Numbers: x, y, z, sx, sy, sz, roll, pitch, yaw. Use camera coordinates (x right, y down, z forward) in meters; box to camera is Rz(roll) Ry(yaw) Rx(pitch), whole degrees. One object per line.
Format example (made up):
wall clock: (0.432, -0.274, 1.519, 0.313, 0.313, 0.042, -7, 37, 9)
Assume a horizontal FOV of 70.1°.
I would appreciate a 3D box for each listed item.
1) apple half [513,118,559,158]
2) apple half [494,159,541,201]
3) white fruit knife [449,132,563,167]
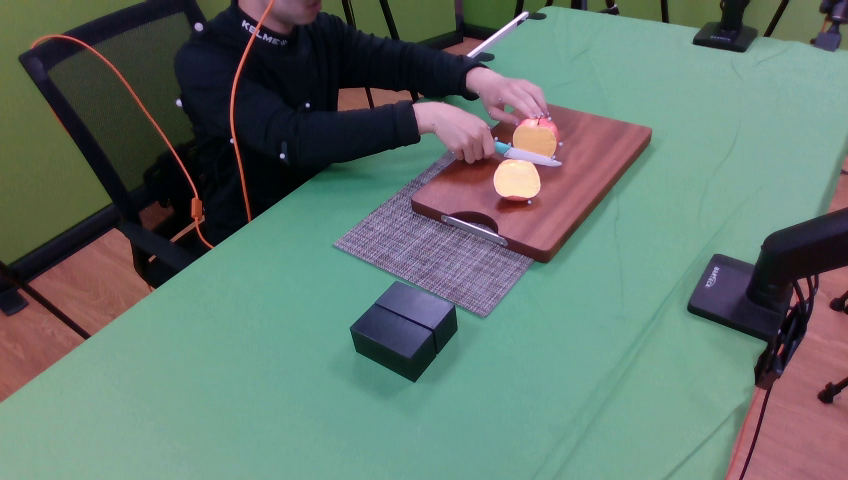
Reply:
apple half: (0.202, -0.180, 1.067, 0.080, 0.075, 0.053, 8, 36, 23)
apple half: (0.154, -0.095, 0.999, 0.081, 0.033, 0.081, -1, 64, 2)
white fruit knife: (0.145, -0.160, 1.071, 0.207, 0.027, 0.016, 16, 41, 11)
